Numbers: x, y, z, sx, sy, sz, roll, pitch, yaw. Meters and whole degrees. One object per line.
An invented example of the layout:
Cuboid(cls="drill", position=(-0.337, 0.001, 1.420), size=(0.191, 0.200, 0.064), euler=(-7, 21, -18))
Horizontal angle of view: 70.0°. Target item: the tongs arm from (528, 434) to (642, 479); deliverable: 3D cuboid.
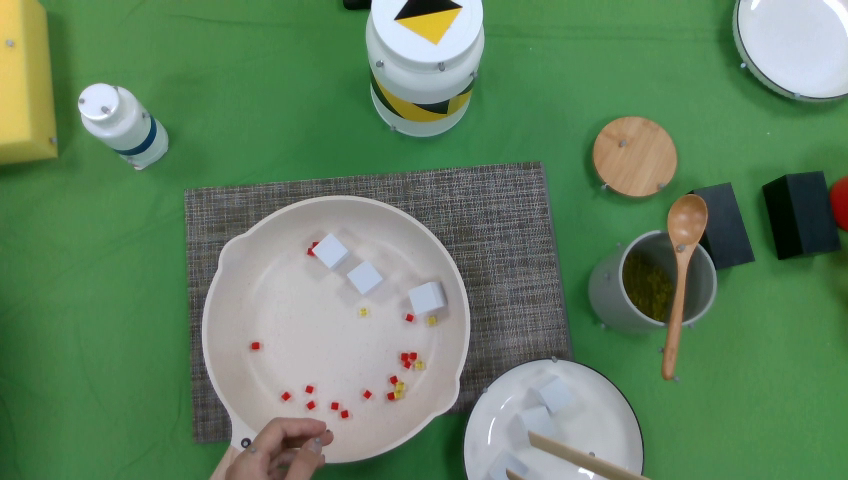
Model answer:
Cuboid(cls="tongs arm", position=(0.254, 0.255, 0.529), size=(0.028, 0.384, 0.028), euler=(-37, 126, -35))

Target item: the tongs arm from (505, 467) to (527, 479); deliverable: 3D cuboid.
Cuboid(cls="tongs arm", position=(0.235, 0.272, 0.513), size=(0.050, 0.381, 0.027), euler=(-39, 127, -32))

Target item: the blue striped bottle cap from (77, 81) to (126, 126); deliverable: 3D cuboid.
Cuboid(cls="blue striped bottle cap", position=(-0.347, -0.147, 0.651), size=(0.044, 0.020, 0.044), euler=(1, 80, -3))

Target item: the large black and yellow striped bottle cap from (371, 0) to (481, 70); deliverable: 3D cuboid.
Cuboid(cls="large black and yellow striped bottle cap", position=(0.002, -0.232, 0.623), size=(0.115, 0.019, 0.114), euler=(1, 81, -3))

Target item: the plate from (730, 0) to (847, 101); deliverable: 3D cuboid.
Cuboid(cls="plate", position=(0.513, -0.283, 0.822), size=(0.209, 0.038, 0.208), euler=(1, 79, -3))

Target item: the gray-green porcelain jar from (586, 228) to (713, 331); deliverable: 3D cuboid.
Cuboid(cls="gray-green porcelain jar", position=(0.251, 0.051, 0.698), size=(0.106, 0.127, 0.105), euler=(1, 79, -3))

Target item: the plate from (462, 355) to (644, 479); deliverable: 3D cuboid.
Cuboid(cls="plate", position=(0.146, 0.237, 0.700), size=(0.208, 0.039, 0.207), euler=(1, 81, -3))

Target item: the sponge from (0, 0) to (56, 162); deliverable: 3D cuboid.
Cuboid(cls="sponge", position=(-0.529, -0.200, 0.733), size=(0.118, 0.061, 0.206), euler=(-10, 81, -6))

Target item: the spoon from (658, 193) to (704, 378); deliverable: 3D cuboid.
Cuboid(cls="spoon", position=(0.261, 0.047, 0.629), size=(0.042, 0.021, 0.193), euler=(11, 82, -5))

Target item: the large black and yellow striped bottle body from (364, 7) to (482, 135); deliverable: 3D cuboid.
Cuboid(cls="large black and yellow striped bottle body", position=(-0.003, -0.214, 0.705), size=(0.131, 0.184, 0.130), euler=(1, 78, -3))

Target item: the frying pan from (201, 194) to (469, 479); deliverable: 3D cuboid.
Cuboid(cls="frying pan", position=(-0.155, 0.175, 0.659), size=(0.306, 0.103, 0.486), euler=(35, 71, 4))

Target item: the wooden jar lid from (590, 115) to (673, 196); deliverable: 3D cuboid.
Cuboid(cls="wooden jar lid", position=(0.267, -0.108, 0.784), size=(0.108, 0.021, 0.108), euler=(1, 81, -3))

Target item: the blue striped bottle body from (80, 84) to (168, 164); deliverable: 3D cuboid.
Cuboid(cls="blue striped bottle body", position=(-0.349, -0.136, 0.701), size=(0.063, 0.121, 0.063), euler=(1, 78, -3))
